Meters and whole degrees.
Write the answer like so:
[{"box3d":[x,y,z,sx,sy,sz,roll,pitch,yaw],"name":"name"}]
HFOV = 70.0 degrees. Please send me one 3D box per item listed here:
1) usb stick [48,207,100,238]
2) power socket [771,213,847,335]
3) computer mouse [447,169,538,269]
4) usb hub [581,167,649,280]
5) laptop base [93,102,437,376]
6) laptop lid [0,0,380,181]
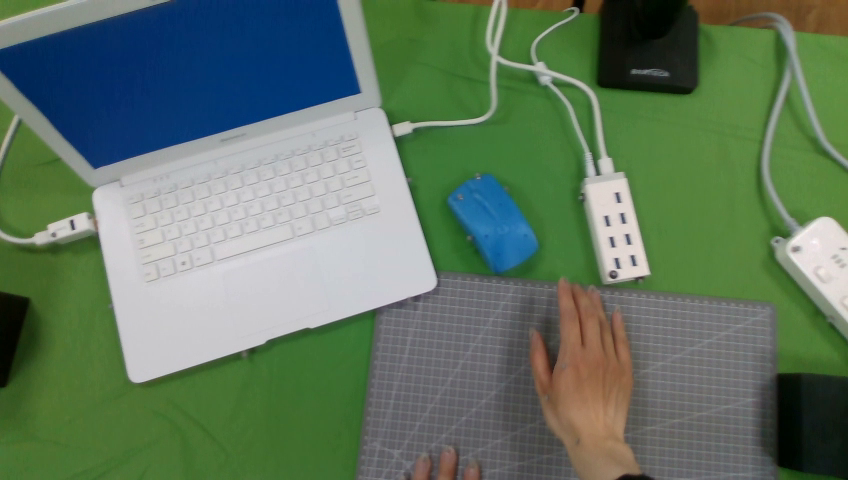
[{"box3d":[-0.391,-0.022,0.690,0.059,0.027,0.021,-17,81,-8],"name":"usb stick"},{"box3d":[0.489,0.067,0.673,0.072,0.033,0.225,-36,80,-8],"name":"power socket"},{"box3d":[0.078,-0.027,0.693,0.063,0.041,0.116,-30,75,-5],"name":"computer mouse"},{"box3d":[0.218,-0.019,0.697,0.049,0.025,0.124,-10,78,-1],"name":"usb hub"},{"box3d":[-0.184,-0.008,0.699,0.354,0.023,0.234,-17,81,-3],"name":"laptop base"},{"box3d":[-0.230,-0.172,0.619,0.357,0.244,0.013,-18,62,-2],"name":"laptop lid"}]
